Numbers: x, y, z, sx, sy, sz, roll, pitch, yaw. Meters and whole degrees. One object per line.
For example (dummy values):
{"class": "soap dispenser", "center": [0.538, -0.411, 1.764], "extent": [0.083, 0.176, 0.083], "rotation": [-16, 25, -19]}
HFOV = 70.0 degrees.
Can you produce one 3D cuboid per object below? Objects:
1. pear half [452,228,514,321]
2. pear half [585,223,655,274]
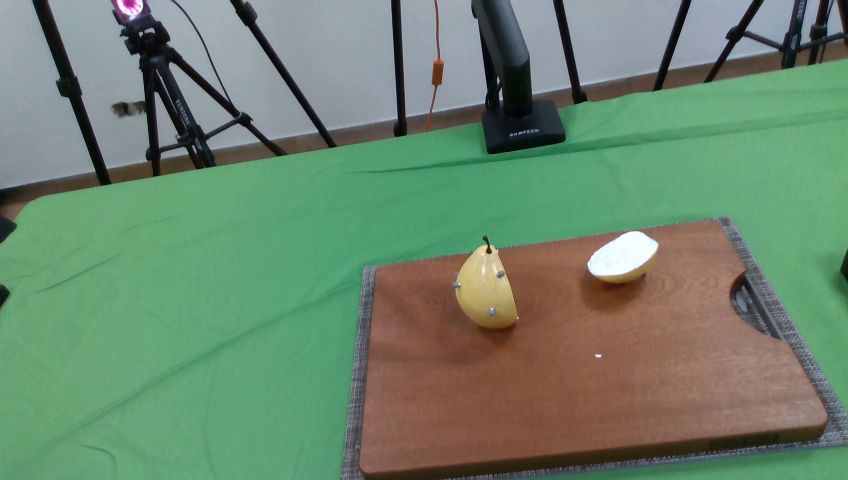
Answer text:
{"class": "pear half", "center": [0.054, 0.033, 0.606], "extent": [0.056, 0.111, 0.075], "rotation": [-20, 38, -7]}
{"class": "pear half", "center": [0.211, 0.014, 0.643], "extent": [0.070, 0.031, 0.088], "rotation": [-1, 27, 37]}
